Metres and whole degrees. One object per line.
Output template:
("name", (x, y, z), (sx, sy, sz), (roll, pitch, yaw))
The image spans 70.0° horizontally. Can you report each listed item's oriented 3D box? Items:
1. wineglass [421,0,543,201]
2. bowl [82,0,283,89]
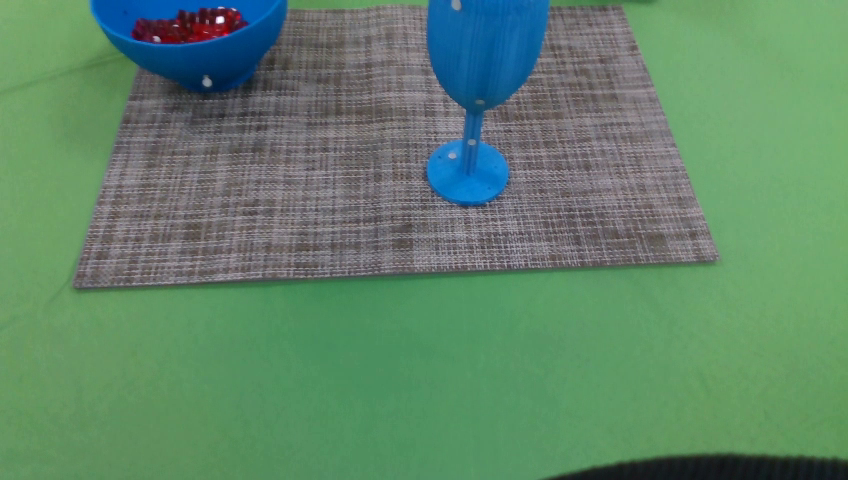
("wineglass", (0.033, -0.104, 0.401), (0.074, 0.173, 0.073), (1, 56, -1))
("bowl", (-0.186, -0.179, 0.499), (0.151, 0.077, 0.150), (1, 56, -1))
